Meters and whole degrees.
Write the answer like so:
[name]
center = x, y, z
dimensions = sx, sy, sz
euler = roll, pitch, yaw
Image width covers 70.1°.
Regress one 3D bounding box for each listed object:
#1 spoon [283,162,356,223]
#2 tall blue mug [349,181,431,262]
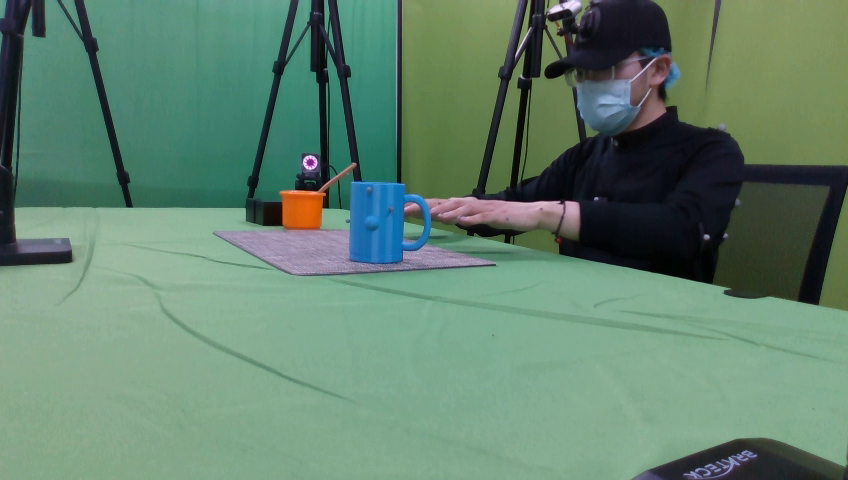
[spoon]
center = -0.211, -0.098, 1.234
dimensions = 0.022, 0.194, 0.041
euler = 47, -11, -16
[tall blue mug]
center = -0.051, -0.028, 0.849
dimensions = 0.108, 0.108, 0.077
euler = -1, 7, -22
